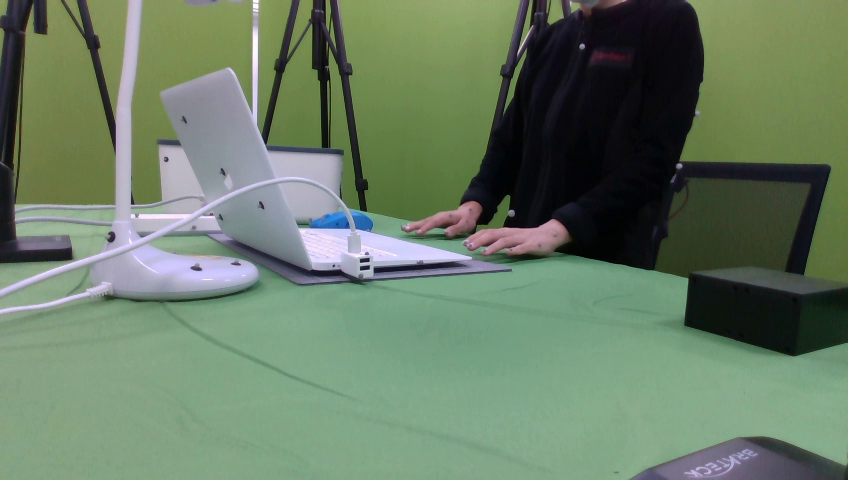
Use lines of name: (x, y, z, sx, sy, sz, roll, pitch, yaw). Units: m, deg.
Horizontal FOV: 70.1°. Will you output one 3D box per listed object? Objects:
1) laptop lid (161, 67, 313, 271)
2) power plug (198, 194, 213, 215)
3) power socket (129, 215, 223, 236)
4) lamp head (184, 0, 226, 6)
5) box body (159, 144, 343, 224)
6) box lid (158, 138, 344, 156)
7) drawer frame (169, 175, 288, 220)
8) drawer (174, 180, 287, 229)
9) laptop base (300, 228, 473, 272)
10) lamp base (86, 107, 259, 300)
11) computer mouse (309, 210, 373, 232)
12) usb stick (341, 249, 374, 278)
laptop lid: (-0.255, -0.090, 0.782, 0.013, 0.242, 0.355, -29, 24, -28)
power plug: (-0.386, -0.055, 1.088, 0.035, 0.052, 0.072, -2, 7, -24)
power socket: (-0.397, -0.028, 1.048, 0.228, 0.032, 0.072, -3, 7, -35)
lamp head: (-0.229, -0.320, 0.627, 0.112, 0.112, 0.123, 6, -35, 26)
box body: (-0.364, -0.128, 1.337, 0.365, 0.160, 0.253, 1, 7, -8)
box lid: (-0.363, -0.201, 1.328, 0.372, 0.015, 0.262, 2, 7, -8)
drawer frame: (-0.414, -0.096, 1.320, 0.214, 0.082, 0.201, -5, 7, -8)
drawer: (-0.413, -0.080, 1.325, 0.212, 0.073, 0.194, -8, 11, -8)
laptop base: (-0.124, 0.011, 0.889, 0.237, 0.023, 0.352, 1, 7, -35)
lamp base: (-0.255, -0.039, 0.603, 0.160, 0.180, 0.179, 4, 10, 18)
computer mouse: (-0.157, -0.034, 1.139, 0.118, 0.041, 0.062, -6, 12, -28)
usb stick: (-0.079, 0.026, 0.687, 0.021, 0.027, 0.059, -7, 9, -30)
